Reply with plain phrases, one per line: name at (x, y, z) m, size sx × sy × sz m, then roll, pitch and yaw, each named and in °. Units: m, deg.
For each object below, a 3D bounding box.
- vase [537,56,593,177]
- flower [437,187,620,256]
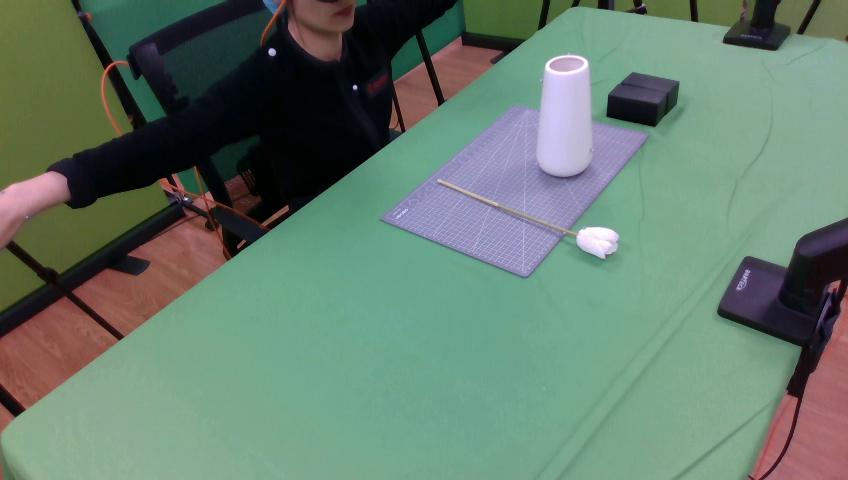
vase at (0.245, -0.209, 1.040) m, size 0.098 × 0.201 × 0.097 m, roll -4°, pitch 40°, yaw 4°
flower at (0.156, -0.045, 1.011) m, size 0.358 × 0.038 × 0.044 m, roll 22°, pitch 85°, yaw 38°
